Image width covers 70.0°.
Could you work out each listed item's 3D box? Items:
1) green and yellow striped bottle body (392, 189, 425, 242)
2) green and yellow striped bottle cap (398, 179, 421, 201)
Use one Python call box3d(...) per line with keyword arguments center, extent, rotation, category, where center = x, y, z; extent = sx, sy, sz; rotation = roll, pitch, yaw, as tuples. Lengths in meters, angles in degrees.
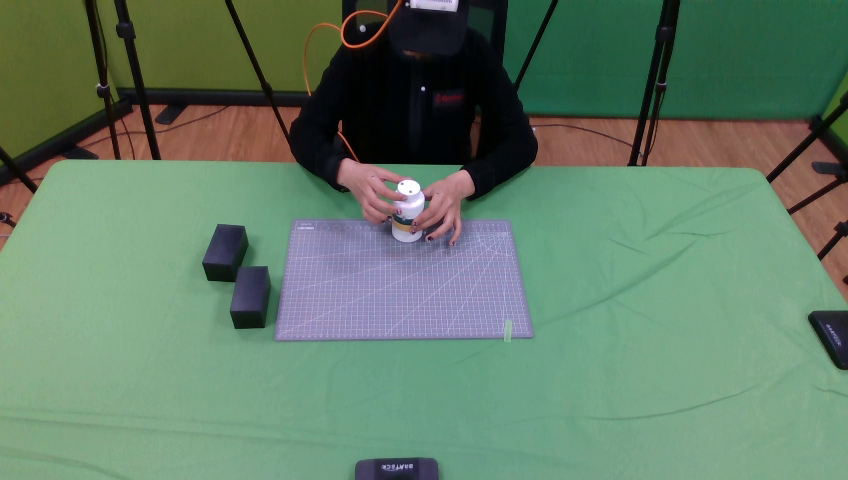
box3d(center=(-0.030, -0.058, 1.178), extent=(0.063, 0.120, 0.063), rotation=(2, 46, -2), category="green and yellow striped bottle body")
box3d(center=(-0.027, -0.095, 1.141), extent=(0.045, 0.020, 0.045), rotation=(1, 48, -1), category="green and yellow striped bottle cap")
